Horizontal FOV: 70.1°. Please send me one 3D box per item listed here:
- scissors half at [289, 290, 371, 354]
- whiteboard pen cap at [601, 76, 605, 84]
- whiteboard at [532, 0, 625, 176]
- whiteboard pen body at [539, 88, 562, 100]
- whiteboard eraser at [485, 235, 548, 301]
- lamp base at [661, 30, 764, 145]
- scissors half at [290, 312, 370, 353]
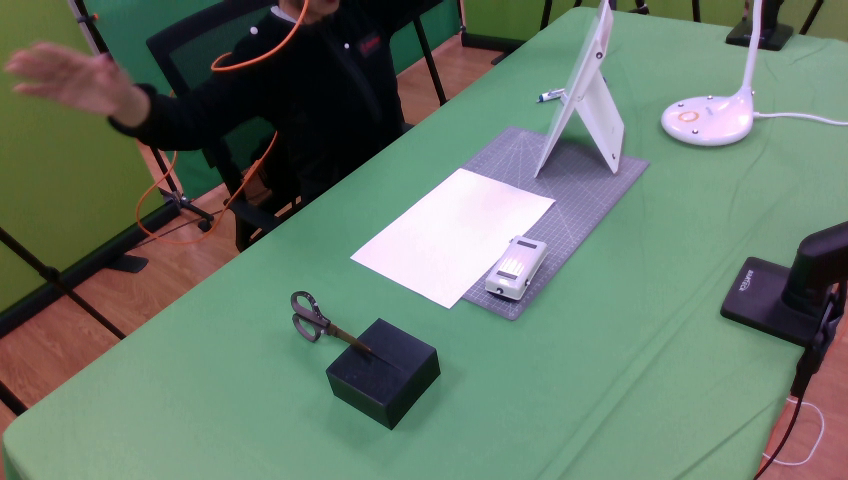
[{"bbox_3d":[-0.128,0.110,0.809,0.173,0.040,0.013,29,32,37],"label":"scissors half"},{"bbox_3d":[0.372,-0.340,1.305,0.033,0.018,0.018,-17,41,-1],"label":"whiteboard pen cap"},{"bbox_3d":[0.320,-0.259,1.050,0.144,0.306,0.217,21,45,5],"label":"whiteboard"},{"bbox_3d":[0.315,-0.324,1.303,0.141,0.017,0.017,-15,41,-2],"label":"whiteboard pen body"},{"bbox_3d":[0.137,0.042,0.887,0.055,0.042,0.113,15,46,27],"label":"whiteboard eraser"},{"bbox_3d":[0.535,-0.287,1.096,0.179,0.181,0.159,-10,40,-4],"label":"lamp base"},{"bbox_3d":[-0.128,0.129,0.816,0.013,0.040,0.173,-23,21,-40],"label":"scissors half"}]
